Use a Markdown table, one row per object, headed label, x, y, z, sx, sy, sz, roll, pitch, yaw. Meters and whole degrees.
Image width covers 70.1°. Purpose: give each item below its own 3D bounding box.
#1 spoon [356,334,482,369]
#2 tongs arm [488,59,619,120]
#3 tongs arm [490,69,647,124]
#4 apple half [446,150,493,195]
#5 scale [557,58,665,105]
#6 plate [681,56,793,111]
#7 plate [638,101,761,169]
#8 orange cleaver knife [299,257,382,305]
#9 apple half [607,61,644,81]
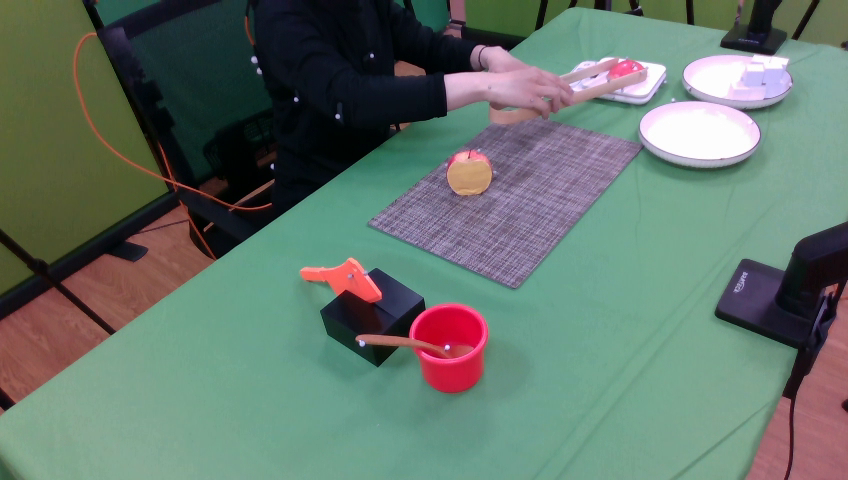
| label | x | y | z | sx | sy | sz | roll | pitch | yaw |
| --- | --- | --- | --- | --- | --- | --- | --- | --- | --- |
| spoon | -0.001 | 0.130 | 0.731 | 0.195 | 0.021 | 0.041 | 22 | 28 | -39 |
| tongs arm | 0.267 | -0.309 | 1.216 | 0.389 | 0.028 | 0.028 | -25 | 47 | -29 |
| tongs arm | 0.292 | -0.287 | 1.186 | 0.387 | 0.026 | 0.050 | -23 | 43 | -28 |
| apple half | 0.080 | -0.123 | 1.065 | 0.081 | 0.075 | 0.053 | -7 | 36 | 7 |
| scale | 0.406 | -0.348 | 1.314 | 0.199 | 0.032 | 0.149 | 19 | 47 | 28 |
| plate | 0.636 | -0.317 | 1.239 | 0.207 | 0.039 | 0.206 | -4 | 40 | 4 |
| plate | 0.500 | -0.189 | 1.111 | 0.209 | 0.038 | 0.208 | -4 | 41 | 4 |
| orange cleaver knife | -0.124 | 0.061 | 0.872 | 0.012 | 0.077 | 0.210 | -38 | 17 | -30 |
| apple half | 0.428 | -0.359 | 1.278 | 0.081 | 0.033 | 0.081 | -4 | 40 | 4 |
